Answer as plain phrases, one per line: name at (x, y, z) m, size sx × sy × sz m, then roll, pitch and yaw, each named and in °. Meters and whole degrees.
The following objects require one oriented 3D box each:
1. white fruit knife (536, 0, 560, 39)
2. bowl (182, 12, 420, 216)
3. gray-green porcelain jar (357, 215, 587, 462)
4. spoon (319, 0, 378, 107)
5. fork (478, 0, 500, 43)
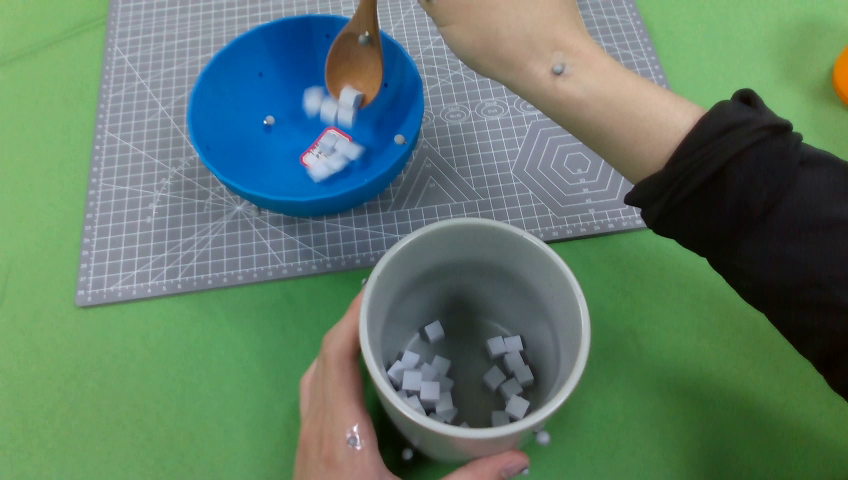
white fruit knife at (0.087, -0.270, 0.511) m, size 0.016 × 0.027 × 0.206 m, roll -9°, pitch 78°, yaw -5°
bowl at (-0.076, -0.072, 0.417) m, size 0.151 × 0.077 × 0.150 m, roll 0°, pitch 64°, yaw 1°
gray-green porcelain jar at (0.023, 0.061, 0.329) m, size 0.106 × 0.127 × 0.105 m, roll 0°, pitch 64°, yaw 1°
spoon at (-0.029, -0.148, 0.334) m, size 0.041 × 0.194 × 0.021 m, roll 35°, pitch 56°, yaw 4°
fork at (0.038, -0.264, 0.507) m, size 0.028 × 0.018 × 0.206 m, roll -11°, pitch 83°, yaw -10°
